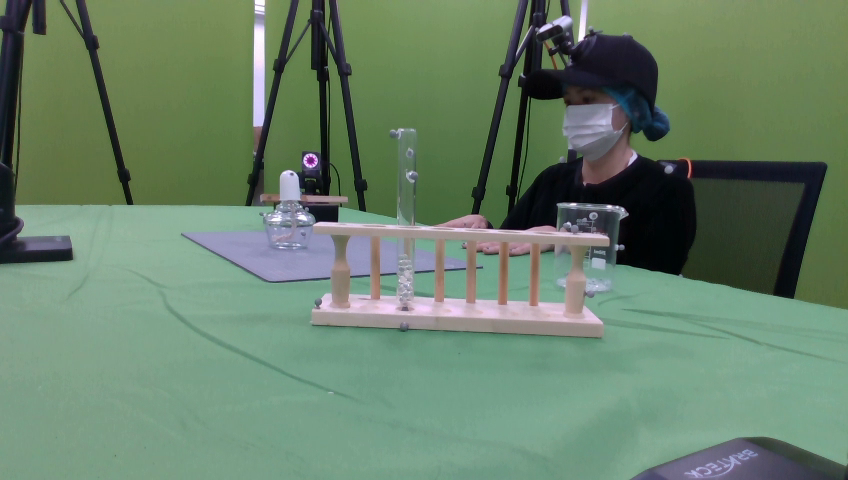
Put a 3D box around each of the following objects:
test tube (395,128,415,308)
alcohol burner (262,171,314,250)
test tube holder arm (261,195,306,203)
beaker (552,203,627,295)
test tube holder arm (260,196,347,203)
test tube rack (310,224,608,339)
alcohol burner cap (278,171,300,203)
[{"bbox_3d":[-0.016,-0.017,0.502,0.017,0.150,0.017,1,10,0],"label":"test tube"},{"bbox_3d":[-0.205,-0.045,0.913,0.078,0.119,0.078,1,9,0],"label":"alcohol burner"},{"bbox_3d":[-0.275,-0.081,1.185,0.088,0.015,0.010,-1,0,-32],"label":"test tube holder arm"},{"bbox_3d":[0.191,0.010,0.708,0.083,0.100,0.074,8,9,33],"label":"beaker"},{"bbox_3d":[-0.239,-0.082,1.213,0.179,0.015,0.013,-1,0,-32],"label":"test tube holder arm"},{"bbox_3d":[0.028,0.032,0.528,0.242,0.085,0.067,3,7,0],"label":"test tube rack"},{"bbox_3d":[-0.203,-0.080,0.909,0.034,0.048,0.034,-1,3,0],"label":"alcohol burner cap"}]
